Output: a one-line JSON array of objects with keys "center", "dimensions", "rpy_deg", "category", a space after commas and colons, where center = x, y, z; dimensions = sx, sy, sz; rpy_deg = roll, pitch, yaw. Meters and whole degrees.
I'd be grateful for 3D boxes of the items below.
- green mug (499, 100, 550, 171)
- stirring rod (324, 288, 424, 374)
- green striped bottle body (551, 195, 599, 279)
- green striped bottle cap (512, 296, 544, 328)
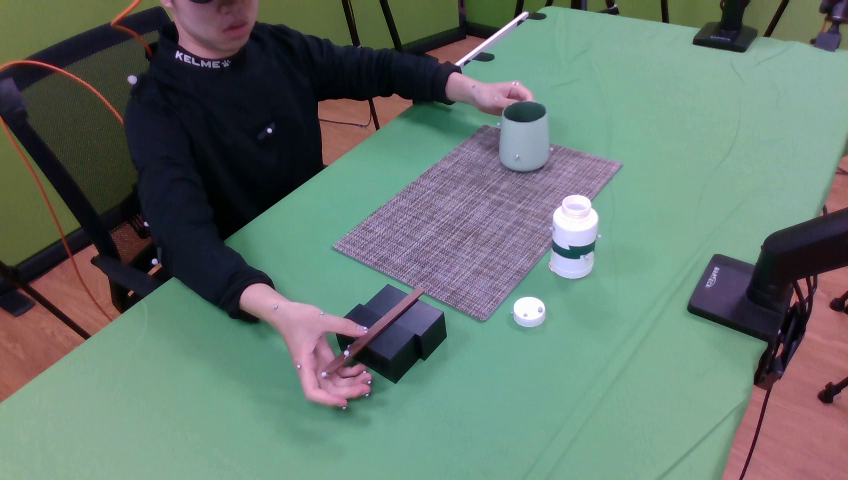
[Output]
[{"center": [0.183, -0.197, 1.101], "dimensions": [0.092, 0.105, 0.125], "rpy_deg": [-1, 41, 8], "category": "green mug"}, {"center": [-0.062, 0.115, 0.781], "dimensions": [0.014, 0.006, 0.177], "rpy_deg": [23, 48, 36], "category": "stirring rod"}, {"center": [0.217, -0.006, 0.870], "dimensions": [0.063, 0.120, 0.063], "rpy_deg": [-4, 41, 4], "category": "green striped bottle body"}, {"center": [0.144, 0.099, 0.837], "dimensions": [0.044, 0.020, 0.044], "rpy_deg": [-1, 43, 2], "category": "green striped bottle cap"}]
